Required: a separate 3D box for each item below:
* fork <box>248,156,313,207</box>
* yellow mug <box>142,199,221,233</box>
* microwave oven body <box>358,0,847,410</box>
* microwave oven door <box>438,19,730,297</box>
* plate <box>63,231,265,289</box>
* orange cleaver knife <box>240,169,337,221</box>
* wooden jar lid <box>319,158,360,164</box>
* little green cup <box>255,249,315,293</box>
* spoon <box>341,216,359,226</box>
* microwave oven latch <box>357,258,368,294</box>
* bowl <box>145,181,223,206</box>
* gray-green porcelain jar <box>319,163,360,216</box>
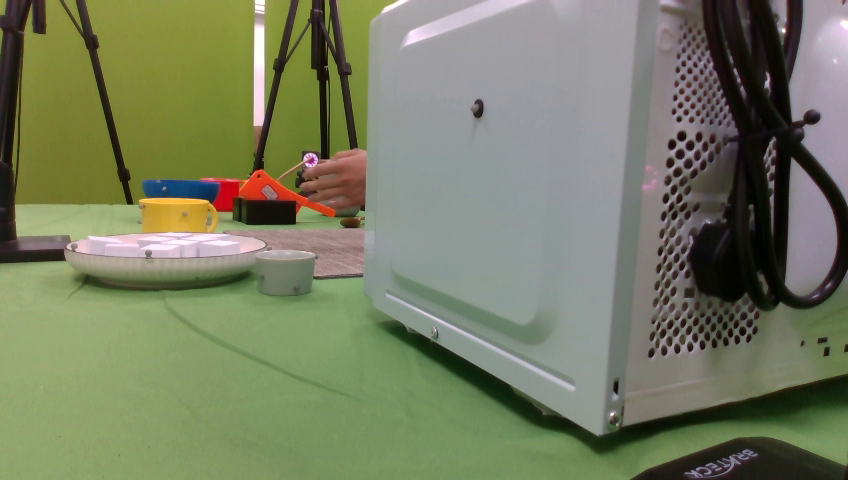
[{"bbox_3d":[-0.360,-0.147,1.523,0.207,0.019,0.028,-43,18,-6],"label":"fork"},{"bbox_3d":[-0.372,-0.030,0.947,0.099,0.064,0.131,6,7,30],"label":"yellow mug"},{"bbox_3d":[0.210,-0.051,0.471,0.444,0.260,0.324,-1,7,-28],"label":"microwave oven body"},{"bbox_3d":[0.181,-0.076,0.618,0.358,0.243,0.039,-2,8,-28],"label":"microwave oven door"},{"bbox_3d":[-0.288,0.021,0.687,0.208,0.039,0.207,2,8,0],"label":"plate"},{"bbox_3d":[-0.287,-0.082,1.298,0.212,0.077,0.012,25,-2,-31],"label":"orange cleaver knife"},{"bbox_3d":[-0.203,-0.189,1.482,0.108,0.020,0.108,2,10,0],"label":"wooden jar lid"},{"bbox_3d":[-0.144,0.031,0.627,0.061,0.038,0.061,2,6,0],"label":"little green cup"},{"bbox_3d":[-0.132,-0.048,1.305,0.041,0.021,0.194,-16,3,14],"label":"spoon"},{"bbox_3d":[-0.019,0.031,0.530,0.079,0.029,0.030,-1,7,-27],"label":"microwave oven latch"},{"bbox_3d":[-0.499,-0.081,1.261,0.151,0.077,0.151,2,7,0],"label":"bowl"},{"bbox_3d":[-0.204,-0.126,1.490,0.106,0.126,0.106,2,7,0],"label":"gray-green porcelain jar"}]
